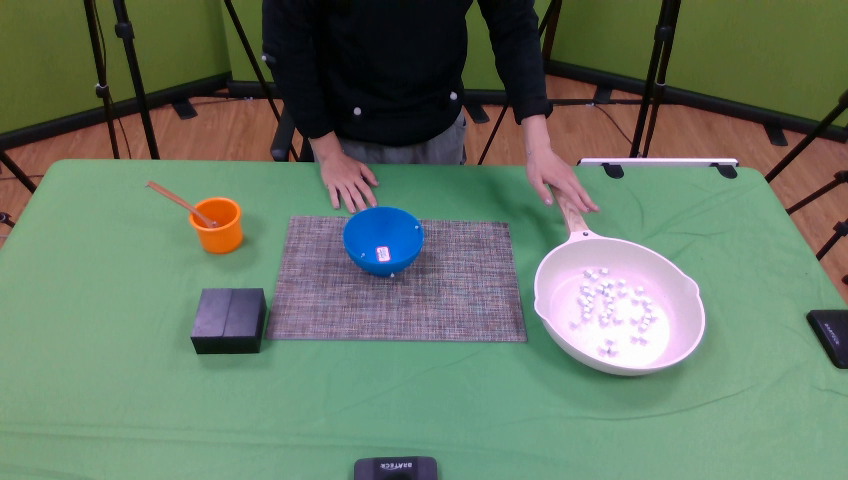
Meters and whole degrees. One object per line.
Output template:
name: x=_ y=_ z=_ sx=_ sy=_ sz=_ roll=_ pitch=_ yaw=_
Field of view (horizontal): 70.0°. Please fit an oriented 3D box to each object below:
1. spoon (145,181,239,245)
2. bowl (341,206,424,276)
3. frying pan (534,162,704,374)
spoon: x=-0.429 y=-0.052 z=1.126 sx=0.021 sy=0.195 sz=0.041 roll=-27 pitch=34 yaw=33
bowl: x=-0.079 y=0.014 z=1.133 sx=0.151 sy=0.077 sz=0.150 roll=2 pitch=46 yaw=-2
frying pan: x=0.314 y=0.034 z=1.133 sx=0.307 sy=0.103 sz=0.484 roll=-7 pitch=56 yaw=-12
